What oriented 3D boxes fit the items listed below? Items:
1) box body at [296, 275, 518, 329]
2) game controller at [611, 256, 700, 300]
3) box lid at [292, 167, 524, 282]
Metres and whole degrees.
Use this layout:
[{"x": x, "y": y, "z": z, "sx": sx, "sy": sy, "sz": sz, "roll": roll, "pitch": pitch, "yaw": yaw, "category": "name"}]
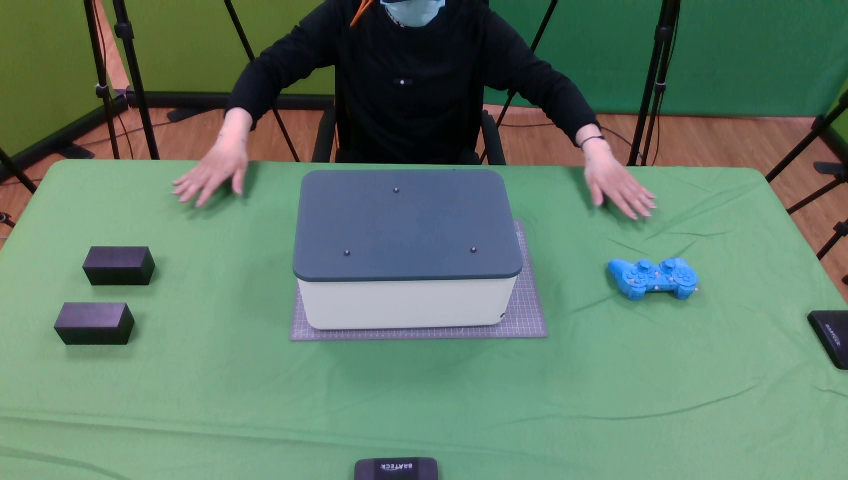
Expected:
[{"x": -0.032, "y": 0.016, "z": 1.075, "sx": 0.364, "sy": 0.161, "sz": 0.252, "roll": -1, "pitch": 47, "yaw": -5, "category": "box body"}, {"x": 0.441, "y": 0.062, "z": 1.144, "sx": 0.155, "sy": 0.052, "sz": 0.096, "roll": -1, "pitch": 51, "yaw": -4, "category": "game controller"}, {"x": -0.027, "y": -0.035, "z": 1.021, "sx": 0.372, "sy": 0.015, "sz": 0.261, "roll": -1, "pitch": 47, "yaw": -5, "category": "box lid"}]
